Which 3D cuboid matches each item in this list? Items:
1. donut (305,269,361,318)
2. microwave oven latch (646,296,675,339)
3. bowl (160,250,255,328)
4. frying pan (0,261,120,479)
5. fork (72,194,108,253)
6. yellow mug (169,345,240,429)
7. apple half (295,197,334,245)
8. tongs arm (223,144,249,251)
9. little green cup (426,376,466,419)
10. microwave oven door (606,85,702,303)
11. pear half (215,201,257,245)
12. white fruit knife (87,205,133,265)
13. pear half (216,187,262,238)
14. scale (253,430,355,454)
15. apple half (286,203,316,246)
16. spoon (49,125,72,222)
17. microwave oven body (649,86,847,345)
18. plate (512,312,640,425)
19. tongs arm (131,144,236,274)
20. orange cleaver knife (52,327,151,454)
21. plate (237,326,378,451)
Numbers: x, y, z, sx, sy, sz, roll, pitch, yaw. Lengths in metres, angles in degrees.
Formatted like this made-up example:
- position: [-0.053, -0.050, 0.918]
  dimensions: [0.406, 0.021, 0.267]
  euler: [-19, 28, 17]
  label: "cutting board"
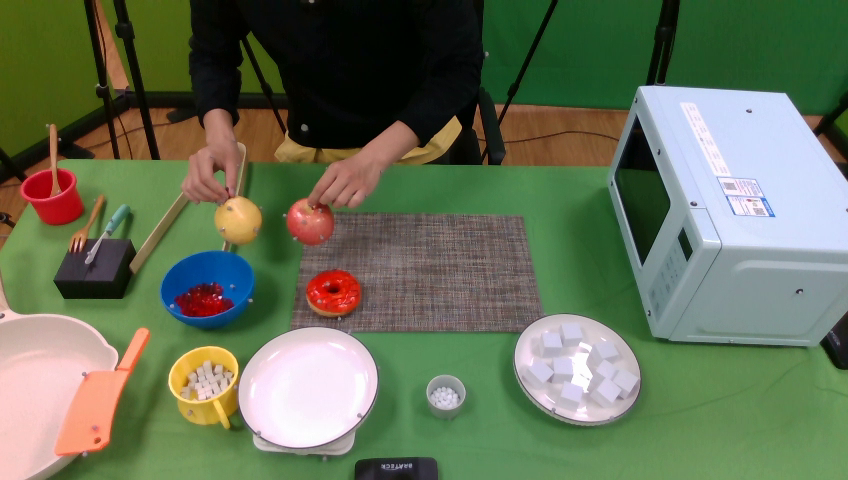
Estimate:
- position: [-0.160, 0.095, 1.075]
  dimensions: [0.099, 0.048, 0.098]
  euler: [4, 45, -3]
  label: "donut"
- position: [0.412, 0.134, 1.061]
  dimensions: [0.030, 0.029, 0.078]
  euler: [4, 45, 1]
  label: "microwave oven latch"
- position: [-0.362, 0.098, 1.040]
  dimensions: [0.151, 0.077, 0.150]
  euler: [2, 45, -2]
  label: "bowl"
- position: [-0.647, 0.164, 0.936]
  dimensions: [0.307, 0.103, 0.485]
  euler: [-19, 58, -22]
  label: "frying pan"
- position: [-0.634, -0.036, 1.158]
  dimensions: [0.028, 0.019, 0.206]
  euler: [-7, 31, -9]
  label: "fork"
- position: [-0.322, 0.230, 0.922]
  dimensions: [0.100, 0.064, 0.130]
  euler: [-24, 53, -25]
  label: "yellow mug"
- position: [-0.186, -0.036, 1.055]
  dimensions: [0.053, 0.075, 0.080]
  euler: [-26, 50, -26]
  label: "apple half"
- position: [-0.397, -0.073, 1.232]
  dimensions: [0.051, 0.027, 0.382]
  euler: [-2, 45, 0]
  label: "tongs arm"
- position: [0.033, 0.248, 0.950]
  dimensions: [0.061, 0.039, 0.061]
  euler: [2, 46, -2]
  label: "little green cup"
- position: [0.422, -0.094, 1.140]
  dimensions: [0.039, 0.245, 0.353]
  euler: [2, 46, -1]
  label: "microwave oven door"
- position: [-0.322, -0.022, 1.025]
  dimensions: [0.070, 0.088, 0.031]
  euler: [-1, 42, 1]
  label: "pear half"
- position: [-0.584, -0.013, 1.129]
  dimensions: [0.016, 0.027, 0.206]
  euler: [0, 31, -5]
  label: "white fruit knife"
- position: [-0.320, -0.054, 1.044]
  dimensions: [0.076, 0.110, 0.055]
  euler: [1, 43, 1]
  label: "pear half"
- position: [-0.175, 0.236, 0.951]
  dimensions: [0.149, 0.032, 0.199]
  euler: [4, 45, 0]
  label: "scale"
- position: [-0.216, -0.020, 1.037]
  dimensions: [0.033, 0.081, 0.081]
  euler: [-26, 53, -27]
  label: "apple half"
- position: [-0.718, -0.131, 1.189]
  dimensions: [0.041, 0.021, 0.193]
  euler: [-4, 90, -7]
  label: "spoon"
- position: [0.567, -0.053, 1.118]
  dimensions: [0.326, 0.261, 0.439]
  euler: [2, 45, -1]
  label: "microwave oven body"
- position: [0.246, 0.213, 0.999]
  dimensions: [0.208, 0.039, 0.206]
  euler: [2, 46, -2]
  label: "plate"
- position: [-0.483, -0.077, 1.236]
  dimensions: [0.028, 0.028, 0.385]
  euler: [6, 45, 13]
  label: "tongs arm"
- position: [-0.462, 0.212, 0.879]
  dimensions: [0.077, 0.012, 0.210]
  euler: [6, 45, -1]
  label: "orange cleaver knife"
- position: [-0.174, 0.224, 0.917]
  dimensions: [0.209, 0.038, 0.208]
  euler: [2, 46, -2]
  label: "plate"
